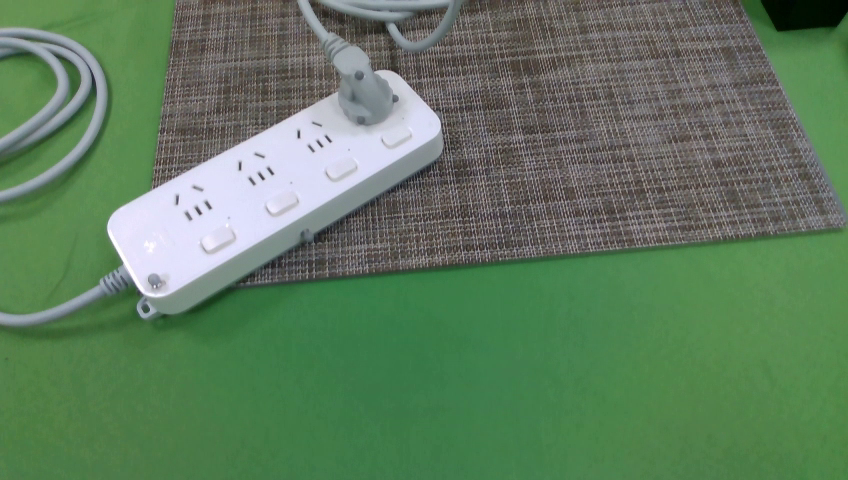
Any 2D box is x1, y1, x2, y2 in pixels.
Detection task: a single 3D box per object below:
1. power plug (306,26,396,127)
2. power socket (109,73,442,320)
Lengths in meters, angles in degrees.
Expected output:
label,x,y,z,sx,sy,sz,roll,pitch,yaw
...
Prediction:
label,x,y,z,sx,sy,sz,roll,pitch,yaw
power plug,-0.045,-0.105,0.398,0.035,0.053,0.072,-23,65,-11
power socket,-0.087,-0.035,0.386,0.227,0.033,0.071,-33,66,-16
